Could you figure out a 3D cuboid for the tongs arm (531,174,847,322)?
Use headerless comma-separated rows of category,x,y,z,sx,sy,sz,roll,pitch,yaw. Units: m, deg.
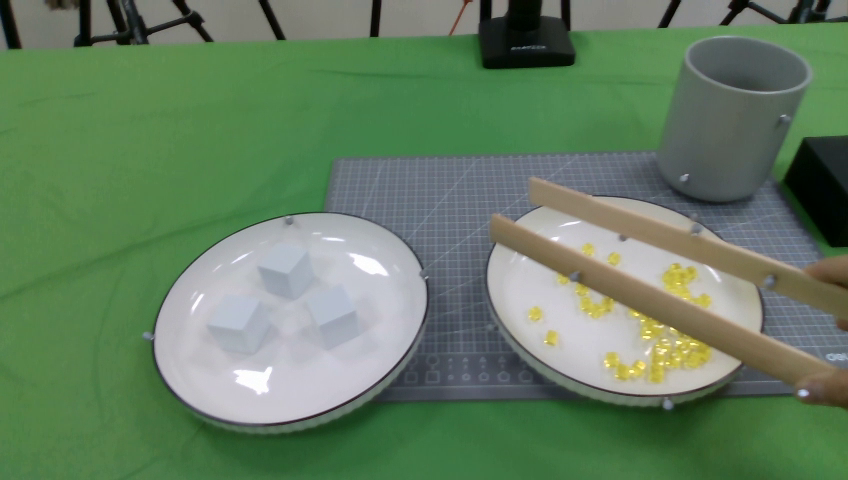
tongs arm,0.225,0.043,0.349,0.382,0.027,0.050,24,50,25

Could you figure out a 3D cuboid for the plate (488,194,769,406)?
plate,0.154,0.044,0.480,0.207,0.039,0.205,-1,44,1

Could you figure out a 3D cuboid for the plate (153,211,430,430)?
plate,-0.099,0.058,0.475,0.209,0.038,0.207,-2,44,2

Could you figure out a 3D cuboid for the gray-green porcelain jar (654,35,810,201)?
gray-green porcelain jar,0.279,-0.109,0.567,0.106,0.127,0.105,-1,44,2

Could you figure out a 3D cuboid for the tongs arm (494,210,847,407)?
tongs arm,0.206,0.061,0.332,0.384,0.028,0.028,25,47,26
